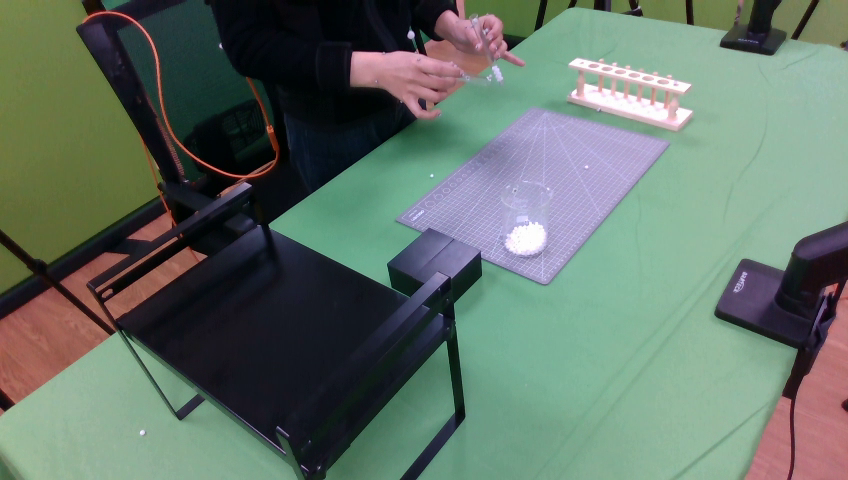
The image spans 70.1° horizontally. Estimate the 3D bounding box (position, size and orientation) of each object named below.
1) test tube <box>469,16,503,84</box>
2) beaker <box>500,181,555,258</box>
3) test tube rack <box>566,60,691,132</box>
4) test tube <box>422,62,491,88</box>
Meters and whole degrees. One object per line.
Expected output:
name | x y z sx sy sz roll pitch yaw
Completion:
test tube | 0.114 -0.342 1.096 0.017 0.151 0.017 -15 51 19
beaker | 0.158 -0.030 0.922 0.084 0.100 0.073 -13 41 -8
test tube rack | 0.411 -0.299 1.217 0.240 0.085 0.067 26 51 33
test tube | 0.057 -0.280 1.024 0.152 0.017 0.017 2 29 -40
